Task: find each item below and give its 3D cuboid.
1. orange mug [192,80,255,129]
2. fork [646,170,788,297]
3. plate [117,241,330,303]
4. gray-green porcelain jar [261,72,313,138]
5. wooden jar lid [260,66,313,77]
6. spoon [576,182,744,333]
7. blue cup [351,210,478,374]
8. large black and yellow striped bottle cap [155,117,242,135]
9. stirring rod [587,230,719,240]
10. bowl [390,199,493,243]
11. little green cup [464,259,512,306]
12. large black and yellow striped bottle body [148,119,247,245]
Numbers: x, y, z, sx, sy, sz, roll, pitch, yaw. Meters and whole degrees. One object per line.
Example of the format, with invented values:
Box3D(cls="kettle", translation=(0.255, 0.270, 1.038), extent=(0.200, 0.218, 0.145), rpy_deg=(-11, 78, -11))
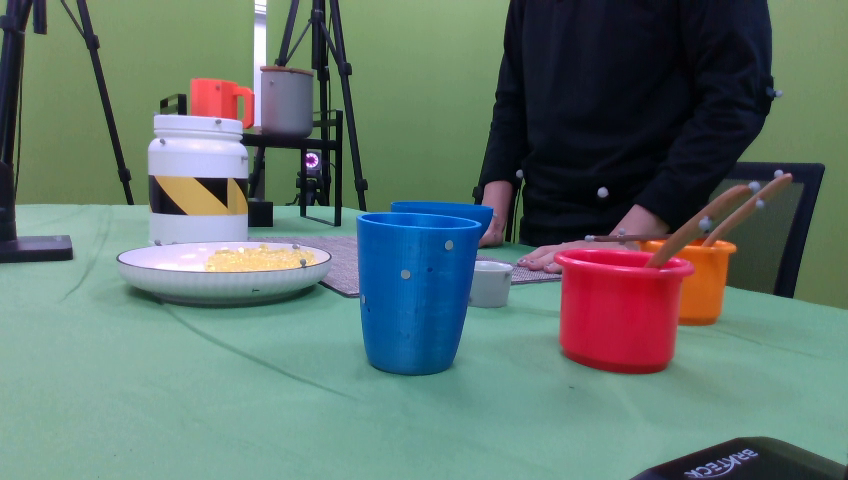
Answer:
Box3D(cls="orange mug", translation=(-0.389, -0.257, 1.173), extent=(0.126, 0.100, 0.083), rpy_deg=(-1, 7, 9))
Box3D(cls="fork", translation=(0.256, 0.004, 0.543), extent=(0.028, 0.018, 0.207), rpy_deg=(3, -36, -9))
Box3D(cls="plate", translation=(-0.203, 0.031, 0.630), extent=(0.209, 0.038, 0.209), rpy_deg=(3, 7, 0))
Box3D(cls="gray-green porcelain jar", translation=(-0.284, -0.276, 1.253), extent=(0.106, 0.126, 0.106), rpy_deg=(2, 8, 0))
Box3D(cls="wooden jar lid", translation=(-0.283, -0.339, 1.244), extent=(0.108, 0.020, 0.108), rpy_deg=(6, 8, -1))
Box3D(cls="spoon", translation=(0.152, 0.020, 0.410), extent=(0.042, 0.021, 0.193), rpy_deg=(-1, -36, -13))
Box3D(cls="blue cup", translation=(-0.009, 0.034, 0.414), extent=(0.093, 0.100, 0.092), rpy_deg=(4, 8, 0))
Box3D(cls="large black and yellow striped bottle cap", translation=(-0.313, -0.159, 0.845), extent=(0.115, 0.019, 0.115), rpy_deg=(3, 9, 0))
Box3D(cls="stirring rod", translation=(0.226, -0.005, 0.587), extent=(0.177, 0.006, 0.014), rpy_deg=(-2, 10, -29))
Box3D(cls="bowl", translation=(0.023, -0.016, 0.874), extent=(0.151, 0.077, 0.151), rpy_deg=(3, 7, 0))
Box3D(cls="little green cup", translation=(0.057, 0.043, 0.611), extent=(0.061, 0.038, 0.061), rpy_deg=(3, 7, 0))
Box3D(cls="large black and yellow striped bottle body", translation=(-0.318, -0.076, 0.855), extent=(0.131, 0.184, 0.130), rpy_deg=(2, 7, 0))
